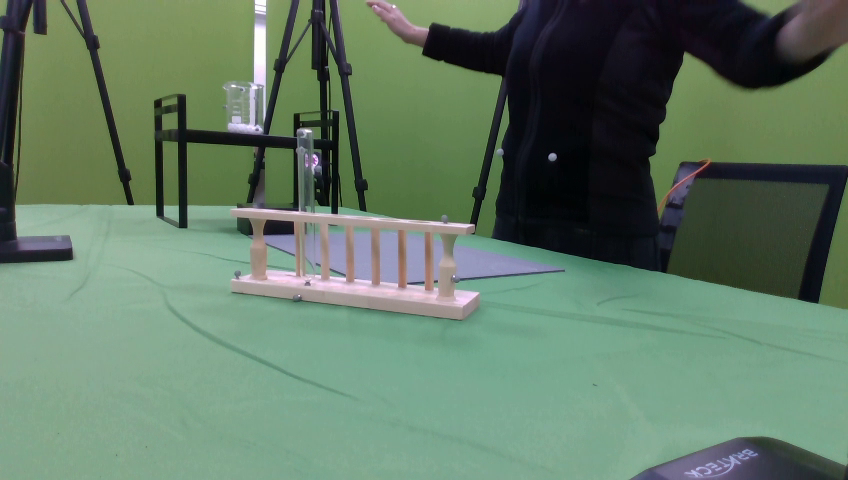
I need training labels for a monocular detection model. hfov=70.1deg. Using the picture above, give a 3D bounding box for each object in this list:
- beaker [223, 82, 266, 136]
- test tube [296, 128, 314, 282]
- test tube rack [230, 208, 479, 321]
[{"bbox_3d":[-0.362,-0.262,1.215,0.084,0.100,0.074,2,7,-1],"label":"beaker"},{"bbox_3d":[-0.116,-0.033,0.593,0.017,0.150,0.017,0,6,0],"label":"test tube"},{"bbox_3d":[-0.069,0.017,0.598,0.242,0.085,0.067,5,8,18],"label":"test tube rack"}]
